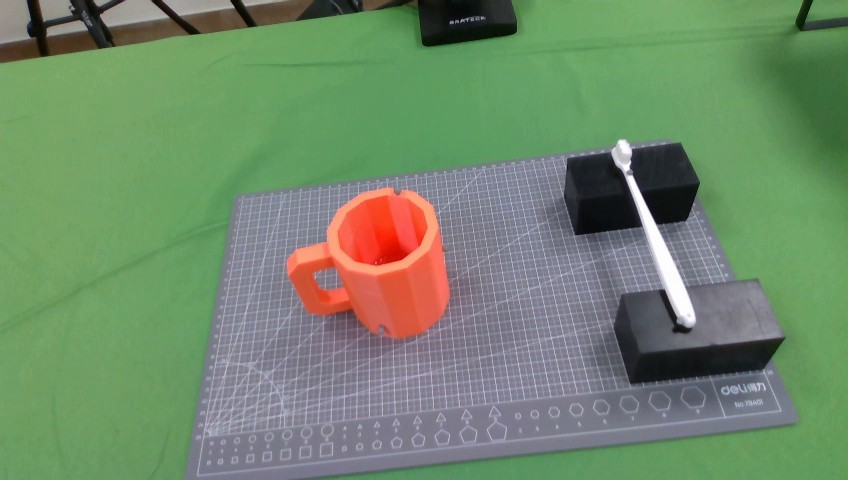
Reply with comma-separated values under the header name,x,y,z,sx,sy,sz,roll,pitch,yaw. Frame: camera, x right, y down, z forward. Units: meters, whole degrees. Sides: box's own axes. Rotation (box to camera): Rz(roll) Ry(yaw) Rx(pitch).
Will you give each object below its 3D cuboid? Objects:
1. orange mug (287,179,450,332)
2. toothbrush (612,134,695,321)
name,x,y,z,sx,sy,sz,roll,pitch,yaw
orange mug,-0.043,0.018,0.493,0.126,0.102,0.082,-11,52,-5
toothbrush,0.179,-0.017,0.476,0.014,0.017,0.180,1,53,-10
